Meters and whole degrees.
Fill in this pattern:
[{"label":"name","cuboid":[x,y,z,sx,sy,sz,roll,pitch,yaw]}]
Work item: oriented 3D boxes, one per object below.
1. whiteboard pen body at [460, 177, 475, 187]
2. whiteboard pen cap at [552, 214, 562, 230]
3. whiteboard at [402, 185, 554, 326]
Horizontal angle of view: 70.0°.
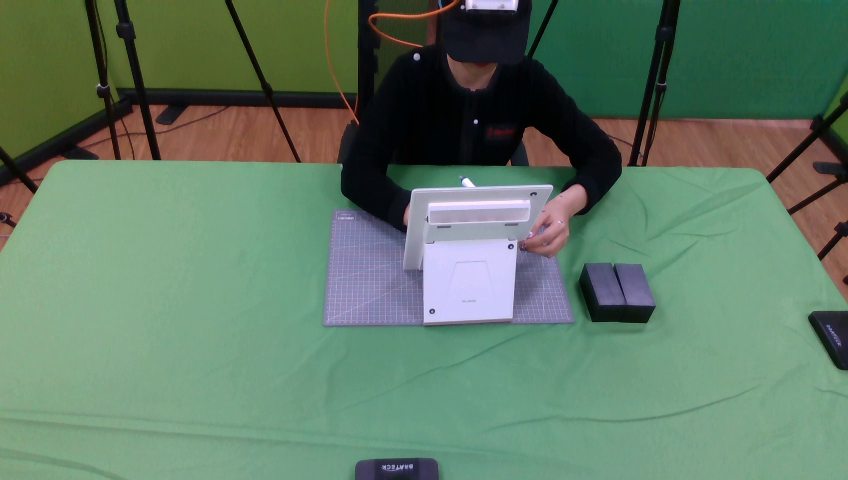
[{"label":"whiteboard pen body","cuboid":[0.108,-0.069,1.079,0.017,0.017,0.140,-22,51,-22]},{"label":"whiteboard pen cap","cuboid":[0.276,-0.037,1.260,0.018,0.018,0.033,2,43,-2]},{"label":"whiteboard","cuboid":[0.081,0.044,1.005,0.217,0.306,0.143,-1,66,-6]}]
